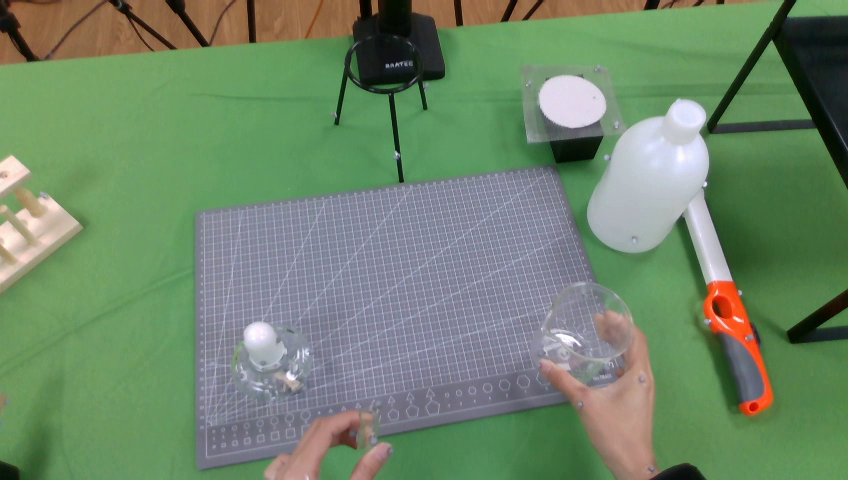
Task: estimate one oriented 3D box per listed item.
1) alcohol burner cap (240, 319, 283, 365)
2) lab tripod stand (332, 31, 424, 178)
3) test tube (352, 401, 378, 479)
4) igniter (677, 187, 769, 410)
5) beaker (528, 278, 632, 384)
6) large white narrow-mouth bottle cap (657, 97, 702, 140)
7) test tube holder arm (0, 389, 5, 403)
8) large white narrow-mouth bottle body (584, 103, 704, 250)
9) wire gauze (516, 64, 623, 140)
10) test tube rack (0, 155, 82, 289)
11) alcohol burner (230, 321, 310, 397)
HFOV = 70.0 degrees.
[{"bbox_3d":[-0.151,0.092,0.556,0.034,0.048,0.033,0,56,1],"label":"alcohol burner cap"},{"bbox_3d":[-0.048,-0.169,0.738,0.148,0.132,0.147,2,62,-3],"label":"lab tripod stand"},{"bbox_3d":[-0.049,0.173,0.492,0.017,0.151,0.017,5,47,-4],"label":"test tube"},{"bbox_3d":[0.333,0.055,0.690,0.057,0.025,0.274,3,60,-13],"label":"igniter"},{"bbox_3d":[0.141,0.092,0.578,0.084,0.101,0.073,-9,62,-9],"label":"beaker"},{"bbox_3d":[0.247,-0.118,0.588,0.038,0.024,0.037,1,61,-1],"label":"large white narrow-mouth bottle cap"},{"bbox_3d":[-0.407,0.216,0.522,0.013,0.015,0.177,2,61,6],"label":"test tube holder arm"},{"bbox_3d":[0.245,-0.074,0.662,0.102,0.196,0.101,1,60,-1],"label":"large white narrow-mouth bottle body"},{"bbox_3d":[0.181,-0.178,0.768,0.121,0.011,0.124,-1,61,-3],"label":"wire gauze"},{"bbox_3d":[-0.502,0.026,0.637,0.066,0.086,0.242,36,66,16],"label":"test tube rack"},{"bbox_3d":[-0.152,0.109,0.588,0.078,0.120,0.077,2,59,-3],"label":"alcohol burner"}]
